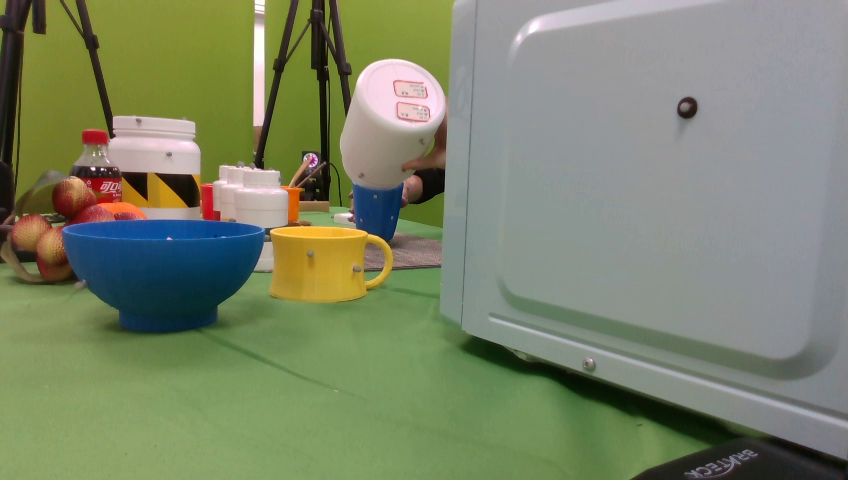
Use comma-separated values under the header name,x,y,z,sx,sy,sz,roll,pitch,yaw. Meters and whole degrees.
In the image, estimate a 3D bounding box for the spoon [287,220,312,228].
name,x,y,z,sx,sy,sz,roll,pitch,yaw
spoon,-0.232,-0.027,1.116,0.041,0.021,0.193,-22,6,4

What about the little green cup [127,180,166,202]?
name,x,y,z,sx,sy,sz,roll,pitch,yaw
little green cup,-0.485,-0.086,1.061,0.061,0.038,0.061,1,7,0

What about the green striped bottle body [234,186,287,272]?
name,x,y,z,sx,sy,sz,roll,pitch,yaw
green striped bottle body,-0.200,-0.023,0.743,0.063,0.119,0.063,2,7,0

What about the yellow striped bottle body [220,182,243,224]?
name,x,y,z,sx,sy,sz,roll,pitch,yaw
yellow striped bottle body,-0.246,-0.036,0.825,0.063,0.120,0.063,3,8,0

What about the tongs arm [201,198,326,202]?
name,x,y,z,sx,sy,sz,roll,pitch,yaw
tongs arm,-0.433,-0.090,1.507,0.390,0.028,0.028,-1,3,-29

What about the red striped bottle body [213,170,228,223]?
name,x,y,z,sx,sy,sz,roll,pitch,yaw
red striped bottle body,-0.284,-0.047,0.909,0.063,0.119,0.063,3,13,0

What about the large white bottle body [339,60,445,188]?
name,x,y,z,sx,sy,sz,roll,pitch,yaw
large white bottle body,-0.055,-0.164,0.913,0.131,0.130,0.184,0,-26,-19

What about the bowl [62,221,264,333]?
name,x,y,z,sx,sy,sz,roll,pitch,yaw
bowl,-0.209,0.029,0.496,0.151,0.077,0.151,2,7,0

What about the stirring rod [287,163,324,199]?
name,x,y,z,sx,sy,sz,roll,pitch,yaw
stirring rod,-0.278,-0.105,1.293,0.176,0.006,0.014,-47,25,-18

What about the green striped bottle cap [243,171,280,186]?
name,x,y,z,sx,sy,sz,roll,pitch,yaw
green striped bottle cap,-0.198,-0.074,0.736,0.044,0.020,0.044,1,7,0

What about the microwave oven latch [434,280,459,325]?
name,x,y,z,sx,sy,sz,roll,pitch,yaw
microwave oven latch,0.044,0.045,0.470,0.079,0.029,0.030,-2,8,-39

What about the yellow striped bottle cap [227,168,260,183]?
name,x,y,z,sx,sy,sz,roll,pitch,yaw
yellow striped bottle cap,-0.243,-0.087,0.818,0.044,0.018,0.044,3,6,0

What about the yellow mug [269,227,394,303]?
name,x,y,z,sx,sy,sz,roll,pitch,yaw
yellow mug,-0.094,0.023,0.629,0.131,0.064,0.099,0,6,-21

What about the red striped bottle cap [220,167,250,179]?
name,x,y,z,sx,sy,sz,roll,pitch,yaw
red striped bottle cap,-0.281,-0.100,0.901,0.044,0.017,0.044,0,5,0

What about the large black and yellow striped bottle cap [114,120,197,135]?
name,x,y,z,sx,sy,sz,roll,pitch,yaw
large black and yellow striped bottle cap,-0.407,-0.171,0.920,0.115,0.019,0.115,2,9,0

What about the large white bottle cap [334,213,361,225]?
name,x,y,z,sx,sy,sz,roll,pitch,yaw
large white bottle cap,-0.145,-0.048,1.355,0.115,0.018,0.115,2,7,0

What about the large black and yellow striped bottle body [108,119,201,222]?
name,x,y,z,sx,sy,sz,roll,pitch,yaw
large black and yellow striped bottle body,-0.412,-0.088,0.930,0.131,0.184,0.130,3,7,0

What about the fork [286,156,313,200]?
name,x,y,z,sx,sy,sz,roll,pitch,yaw
fork,-0.288,-0.117,1.319,0.028,0.019,0.207,-8,45,32

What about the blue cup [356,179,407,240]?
name,x,y,z,sx,sy,sz,roll,pitch,yaw
blue cup,-0.071,-0.055,1.002,0.093,0.100,0.092,2,20,0

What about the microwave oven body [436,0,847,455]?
name,x,y,z,sx,sy,sz,roll,pitch,yaw
microwave oven body,0.279,-0.040,0.465,0.444,0.260,0.324,-3,9,-41

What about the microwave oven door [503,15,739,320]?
name,x,y,z,sx,sy,sz,roll,pitch,yaw
microwave oven door,0.218,-0.065,0.600,0.358,0.243,0.039,-4,10,-41

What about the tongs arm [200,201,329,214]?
name,x,y,z,sx,sy,sz,roll,pitch,yaw
tongs arm,-0.378,-0.079,1.440,0.387,0.026,0.050,-4,8,-44

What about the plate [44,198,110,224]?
name,x,y,z,sx,sy,sz,roll,pitch,yaw
plate,-0.617,-0.056,1.179,0.209,0.038,0.209,3,7,0
